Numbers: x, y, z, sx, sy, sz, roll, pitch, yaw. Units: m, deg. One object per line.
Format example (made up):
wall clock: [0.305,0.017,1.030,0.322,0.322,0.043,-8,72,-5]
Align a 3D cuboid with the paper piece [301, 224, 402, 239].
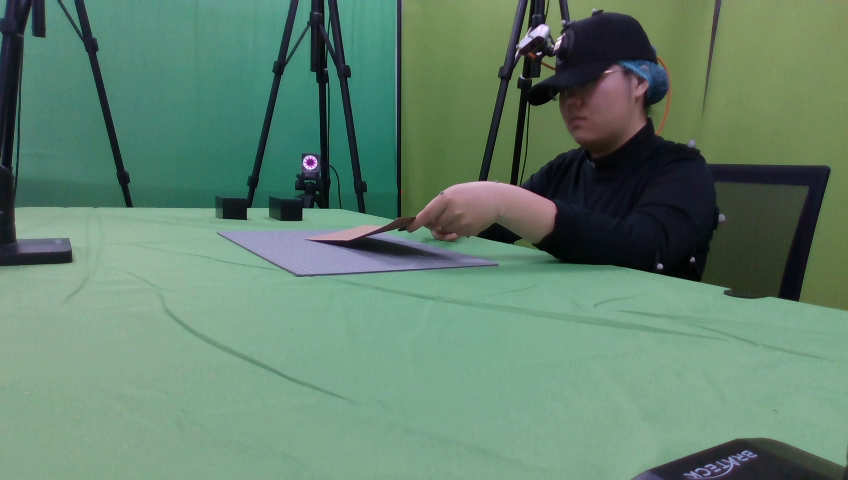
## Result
paper piece: [-0.118,-0.015,1.037,0.136,0.004,0.134,-14,11,-42]

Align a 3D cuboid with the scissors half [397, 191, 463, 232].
scissors half: [0.010,-0.049,1.072,0.013,0.040,0.176,-12,16,46]

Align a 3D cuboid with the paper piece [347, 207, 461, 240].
paper piece: [-0.030,-0.027,0.939,0.136,0.008,0.137,-21,5,-41]

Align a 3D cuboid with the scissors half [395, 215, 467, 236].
scissors half: [0.015,-0.028,1.074,0.176,0.040,0.012,1,-4,-44]
